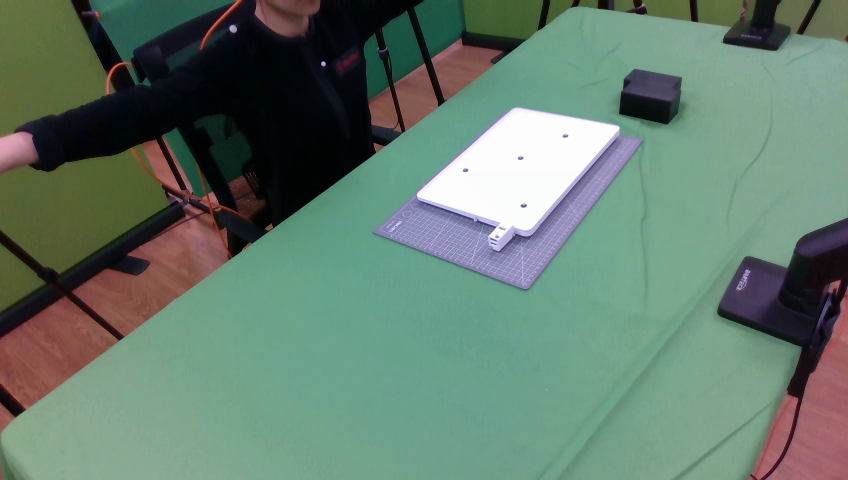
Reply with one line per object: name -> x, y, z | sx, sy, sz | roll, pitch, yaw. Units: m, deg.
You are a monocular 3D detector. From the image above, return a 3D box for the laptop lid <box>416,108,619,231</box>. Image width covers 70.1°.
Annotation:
laptop lid -> 0.176, -0.147, 1.106 | 0.239, 0.013, 0.357 | 21, 48, 34

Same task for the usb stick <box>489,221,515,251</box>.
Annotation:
usb stick -> 0.127, -0.011, 0.954 | 0.021, 0.027, 0.059 | 22, 47, 34

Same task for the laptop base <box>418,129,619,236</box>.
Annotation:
laptop base -> 0.180, -0.137, 1.112 | 0.233, 0.023, 0.355 | 19, 47, 33
